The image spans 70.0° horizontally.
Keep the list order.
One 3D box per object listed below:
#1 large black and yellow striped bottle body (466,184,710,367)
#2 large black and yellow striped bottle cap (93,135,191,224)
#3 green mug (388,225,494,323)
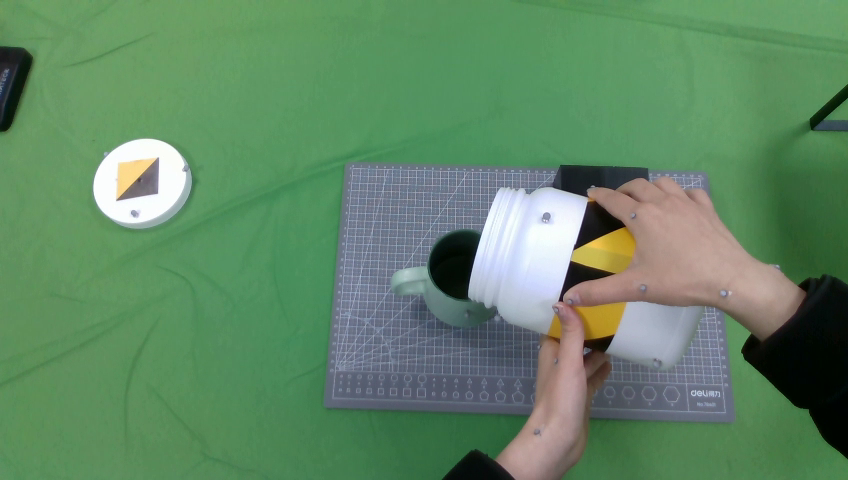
[{"bbox_3d":[0.140,0.025,0.541,0.183,0.131,0.130,17,72,10],"label":"large black and yellow striped bottle body"},{"bbox_3d":[-0.347,-0.076,0.746,0.115,0.019,0.114,0,71,0],"label":"large black and yellow striped bottle cap"},{"bbox_3d":[0.023,0.039,0.658,0.125,0.105,0.092,-5,72,-1],"label":"green mug"}]
